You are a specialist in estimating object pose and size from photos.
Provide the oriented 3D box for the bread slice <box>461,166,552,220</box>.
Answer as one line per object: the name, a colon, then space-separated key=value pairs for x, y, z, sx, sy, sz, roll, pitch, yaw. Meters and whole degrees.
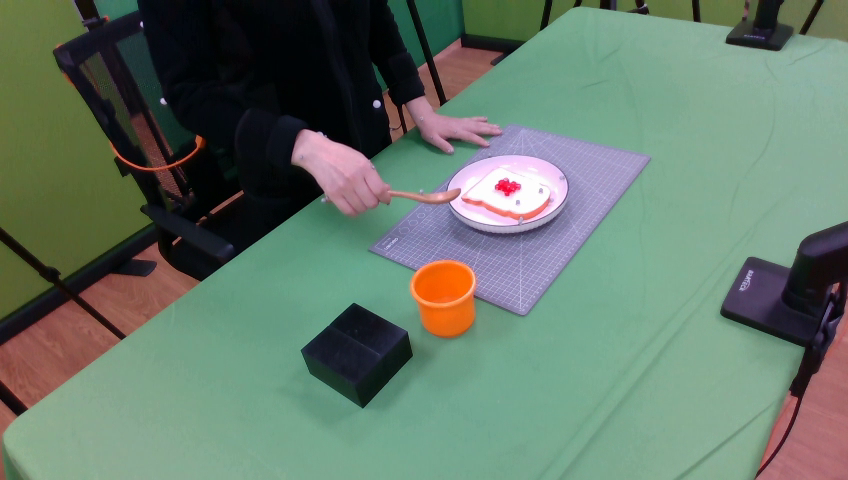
bread slice: x=0.149 y=-0.079 z=1.036 sx=0.133 sy=0.018 sz=0.107 roll=22 pitch=49 yaw=32

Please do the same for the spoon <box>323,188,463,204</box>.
spoon: x=-0.043 y=-0.063 z=0.838 sx=0.194 sy=0.022 sz=0.041 roll=1 pitch=27 yaw=0

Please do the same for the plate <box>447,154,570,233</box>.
plate: x=0.143 y=-0.076 z=1.032 sx=0.209 sy=0.038 sz=0.208 roll=-5 pitch=40 yaw=5
